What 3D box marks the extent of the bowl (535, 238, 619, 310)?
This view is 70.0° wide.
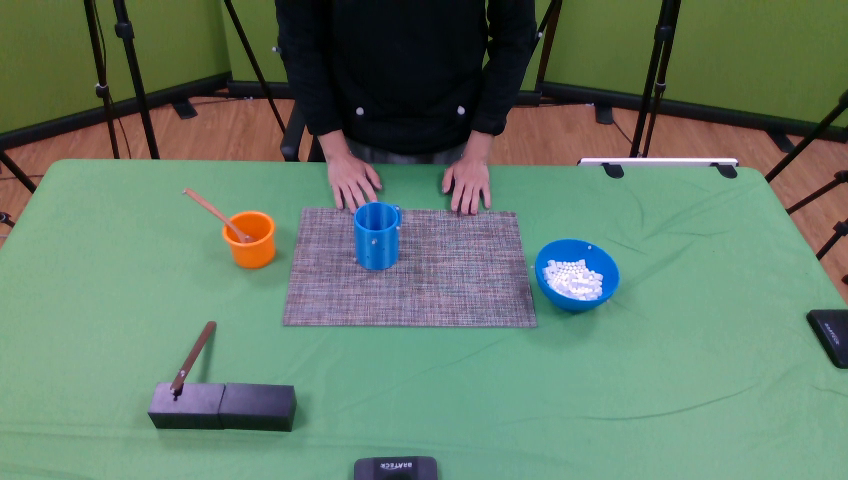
[{"bbox_3d":[0.270,0.076,1.107,0.151,0.077,0.150,2,46,-2],"label":"bowl"}]

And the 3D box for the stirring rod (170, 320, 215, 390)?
[{"bbox_3d":[-0.368,0.180,0.969,0.014,0.006,0.175,0,27,0],"label":"stirring rod"}]

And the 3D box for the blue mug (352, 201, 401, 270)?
[{"bbox_3d":[-0.082,-0.017,1.144,0.082,0.106,0.116,30,51,22],"label":"blue mug"}]

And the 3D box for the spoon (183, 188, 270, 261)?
[{"bbox_3d":[-0.360,-0.029,1.110,0.021,0.194,0.041,-21,31,41],"label":"spoon"}]
